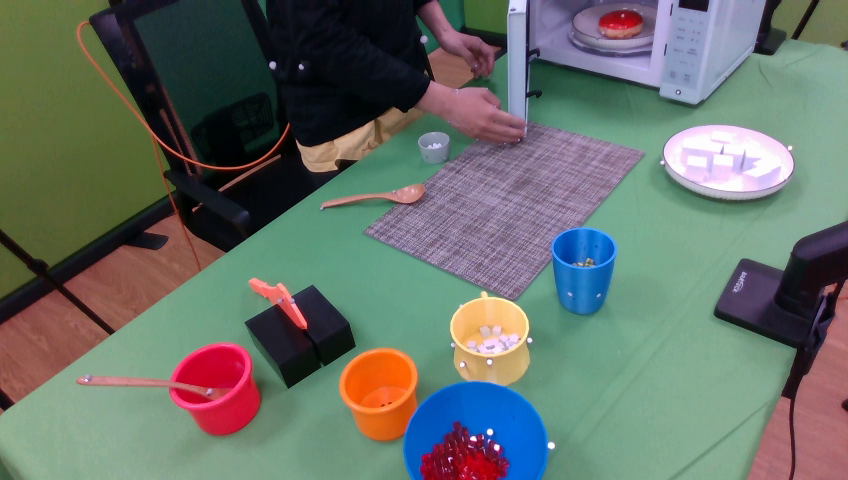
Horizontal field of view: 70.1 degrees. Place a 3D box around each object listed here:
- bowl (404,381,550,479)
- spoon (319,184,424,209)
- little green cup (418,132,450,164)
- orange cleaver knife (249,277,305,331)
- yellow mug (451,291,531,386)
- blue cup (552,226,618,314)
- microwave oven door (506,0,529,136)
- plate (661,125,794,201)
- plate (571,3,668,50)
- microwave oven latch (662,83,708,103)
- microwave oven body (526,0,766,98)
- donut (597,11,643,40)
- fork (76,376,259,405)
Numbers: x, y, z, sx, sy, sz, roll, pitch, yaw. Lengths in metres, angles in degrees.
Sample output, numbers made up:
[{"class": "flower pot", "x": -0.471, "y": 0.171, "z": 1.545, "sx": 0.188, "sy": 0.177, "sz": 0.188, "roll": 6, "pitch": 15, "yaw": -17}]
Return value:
[{"class": "bowl", "x": 0.058, "y": 0.235, "z": 0.645, "sx": 0.151, "sy": 0.077, "sz": 0.150, "roll": -4, "pitch": 39, "yaw": 4}, {"class": "spoon", "x": -0.094, "y": -0.075, "z": 1.074, "sx": 0.193, "sy": 0.022, "sz": 0.041, "roll": -5, "pitch": 56, "yaw": 6}, {"class": "little green cup", "x": 0.020, "y": -0.177, "z": 1.168, "sx": 0.061, "sy": 0.039, "sz": 0.061, "roll": -2, "pitch": 42, "yaw": 2}, {"class": "orange cleaver knife", "x": -0.210, "y": 0.088, "z": 0.856, "sx": 0.012, "sy": 0.077, "sz": 0.210, "roll": -28, "pitch": 15, "yaw": -25}, {"class": "yellow mug", "x": 0.085, "y": 0.120, "z": 0.786, "sx": 0.100, "sy": 0.064, "sz": 0.130, "roll": -7, "pitch": 39, "yaw": 1}, {"class": "blue cup", "x": 0.218, "y": 0.047, "z": 0.826, "sx": 0.092, "sy": 0.100, "sz": 0.092, "roll": -6, "pitch": 40, "yaw": 5}, {"class": "microwave oven door", "x": 0.192, "y": -0.407, "z": 1.227, "sx": 0.039, "sy": 0.245, "sz": 0.354, "roll": 1, "pitch": 41, "yaw": 10}, {"class": "plate", "x": 0.513, "y": -0.128, "z": 1.035, "sx": 0.207, "sy": 0.039, "sz": 0.206, "roll": -4, "pitch": 40, "yaw": 4}, {"class": "plate", "x": 0.436, "y": -0.476, "z": 1.357, "sx": 0.209, "sy": 0.038, "sz": 0.208, "roll": -5, "pitch": 41, "yaw": 5}, {"class": "microwave oven latch", "x": 0.518, "y": -0.296, "z": 1.204, "sx": 0.078, "sy": 0.029, "sz": 0.030, "roll": 27, "pitch": 52, "yaw": 35}, {"class": "microwave oven body", "x": 0.472, "y": -0.513, "z": 1.317, "sx": 0.438, "sy": 0.261, "sz": 0.327, "roll": 26, "pitch": 51, "yaw": 34}, {"class": "donut", "x": 0.436, "y": -0.479, "z": 1.347, "sx": 0.099, "sy": 0.048, "sz": 0.098, "roll": -5, "pitch": 39, "yaw": 4}, {"class": "fork", "x": -0.295, "y": 0.176, "z": 0.716, "sx": 0.209, "sy": 0.018, "sz": 0.028, "roll": 19, "pitch": 27, "yaw": -36}]
